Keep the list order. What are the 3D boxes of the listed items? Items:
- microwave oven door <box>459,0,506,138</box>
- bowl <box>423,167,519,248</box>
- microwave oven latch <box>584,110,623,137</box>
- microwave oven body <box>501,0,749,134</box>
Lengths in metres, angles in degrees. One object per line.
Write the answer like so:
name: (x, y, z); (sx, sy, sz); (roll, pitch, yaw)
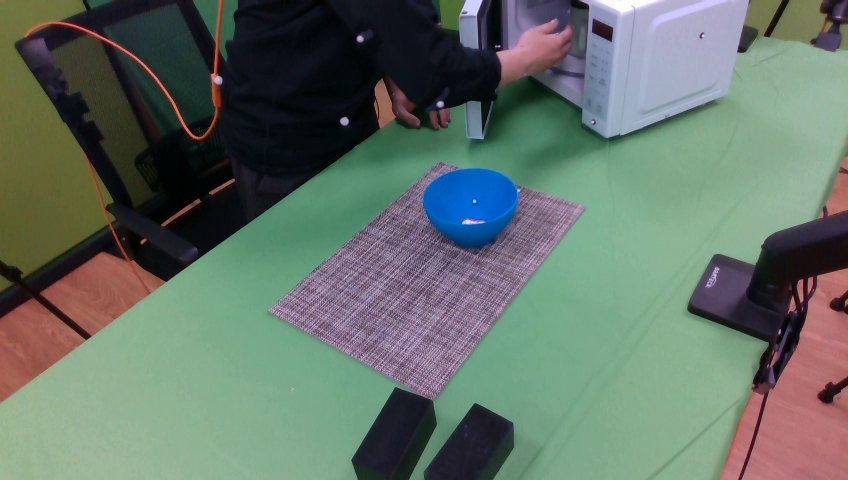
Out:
microwave oven door: (0.125, -0.404, 1.227); (0.039, 0.245, 0.355); (2, 42, 14)
bowl: (0.075, -0.041, 0.959); (0.151, 0.077, 0.150); (-4, 40, 4)
microwave oven latch: (0.337, -0.222, 1.142); (0.030, 0.029, 0.078); (-21, 42, -14)
microwave oven body: (0.382, -0.445, 1.246); (0.327, 0.261, 0.437); (-22, 42, -16)
